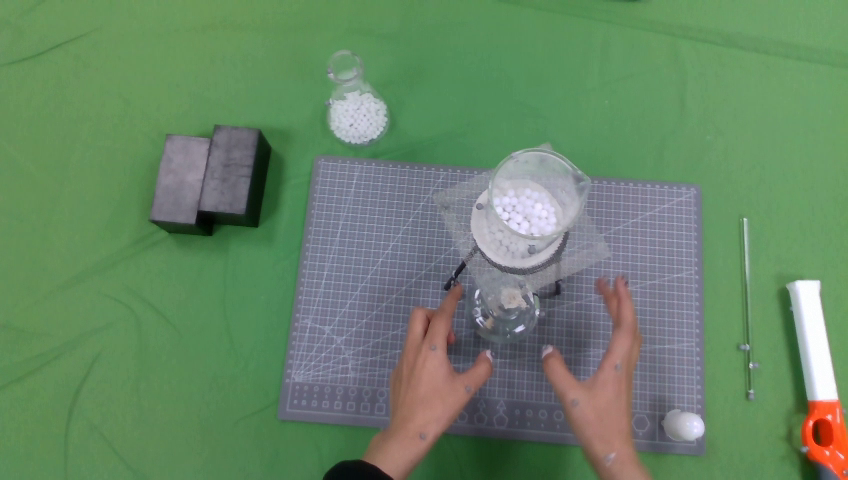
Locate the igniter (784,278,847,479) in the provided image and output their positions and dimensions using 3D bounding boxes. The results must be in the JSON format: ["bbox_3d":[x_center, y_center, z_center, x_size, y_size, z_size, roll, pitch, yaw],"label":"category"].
[{"bbox_3d":[0.417,0.176,0.633,0.057,0.025,0.275,1,76,-10],"label":"igniter"}]

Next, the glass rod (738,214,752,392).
[{"bbox_3d":[0.356,0.066,0.670,0.008,0.008,0.198,5,76,1],"label":"glass rod"}]

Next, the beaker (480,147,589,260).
[{"bbox_3d":[0.087,-0.026,0.508,0.084,0.100,0.073,-16,78,-4],"label":"beaker"}]

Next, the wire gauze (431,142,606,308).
[{"bbox_3d":[0.087,-0.015,0.555,0.125,0.011,0.121,-24,81,-7],"label":"wire gauze"}]

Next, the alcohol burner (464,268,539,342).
[{"bbox_3d":[0.081,0.063,0.614,0.078,0.119,0.077,0,75,-1],"label":"alcohol burner"}]

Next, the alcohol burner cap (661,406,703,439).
[{"bbox_3d":[0.267,0.188,0.620,0.034,0.048,0.033,0,76,1],"label":"alcohol burner cap"}]

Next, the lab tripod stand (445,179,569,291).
[{"bbox_3d":[0.087,0.005,0.618,0.148,0.132,0.147,0,78,1],"label":"lab tripod stand"}]

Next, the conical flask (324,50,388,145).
[{"bbox_3d":[-0.081,-0.160,0.667,0.075,0.122,0.075,0,76,0],"label":"conical flask"}]
